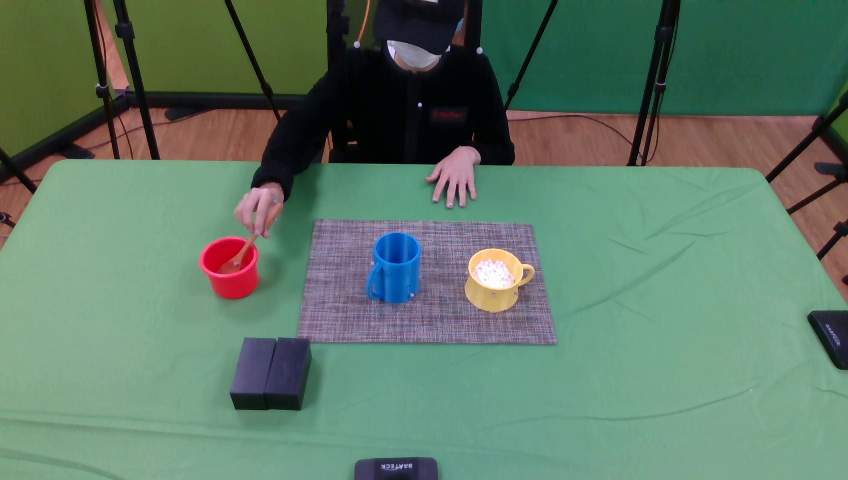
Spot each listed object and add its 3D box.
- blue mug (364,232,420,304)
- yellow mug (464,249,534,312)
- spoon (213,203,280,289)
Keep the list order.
[{"bbox_3d":[-0.062,0.059,1.073,0.082,0.106,0.116,35,53,27],"label":"blue mug"},{"bbox_3d":[0.141,0.070,1.106,0.131,0.064,0.099,-9,47,-14],"label":"yellow mug"},{"bbox_3d":[-0.312,0.011,1.073,0.041,0.194,0.022,44,15,17],"label":"spoon"}]
